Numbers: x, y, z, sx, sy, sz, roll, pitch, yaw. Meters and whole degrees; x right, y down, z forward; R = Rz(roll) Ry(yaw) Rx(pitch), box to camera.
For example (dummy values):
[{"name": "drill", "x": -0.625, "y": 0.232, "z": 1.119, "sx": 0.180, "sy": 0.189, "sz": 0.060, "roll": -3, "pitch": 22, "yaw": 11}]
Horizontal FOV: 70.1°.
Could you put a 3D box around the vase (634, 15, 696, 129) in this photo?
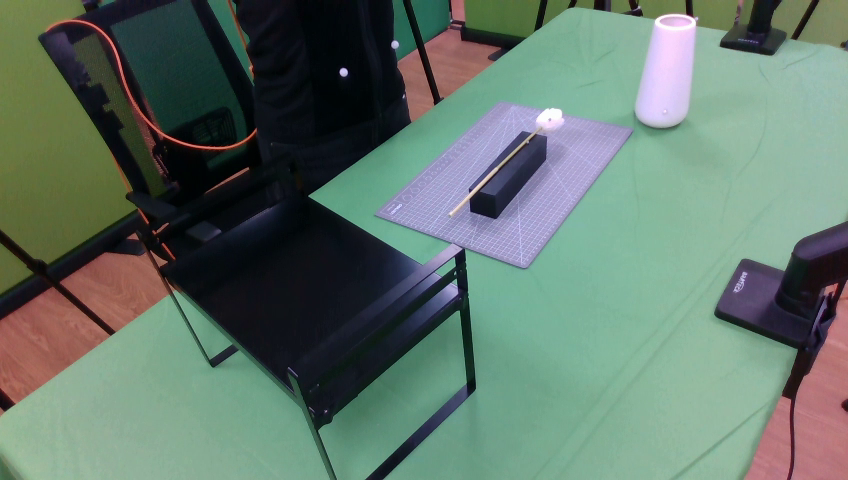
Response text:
[{"name": "vase", "x": 0.455, "y": -0.310, "z": 1.133, "sx": 0.098, "sy": 0.201, "sz": 0.097, "roll": -4, "pitch": 42, "yaw": 4}]

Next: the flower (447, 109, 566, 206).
[{"name": "flower", "x": 0.147, "y": -0.146, "z": 1.047, "sx": 0.044, "sy": 0.038, "sz": 0.363, "roll": 46, "pitch": 52, "yaw": 5}]
